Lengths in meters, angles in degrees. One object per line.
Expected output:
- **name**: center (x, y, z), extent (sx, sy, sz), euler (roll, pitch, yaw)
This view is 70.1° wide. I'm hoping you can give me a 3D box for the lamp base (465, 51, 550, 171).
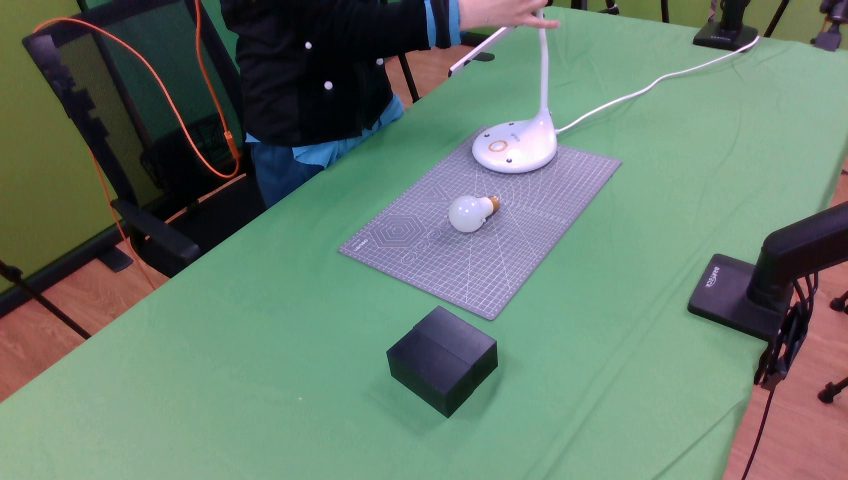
- **lamp base**: center (0.159, -0.243, 1.103), extent (0.180, 0.181, 0.159), euler (-31, 46, -29)
